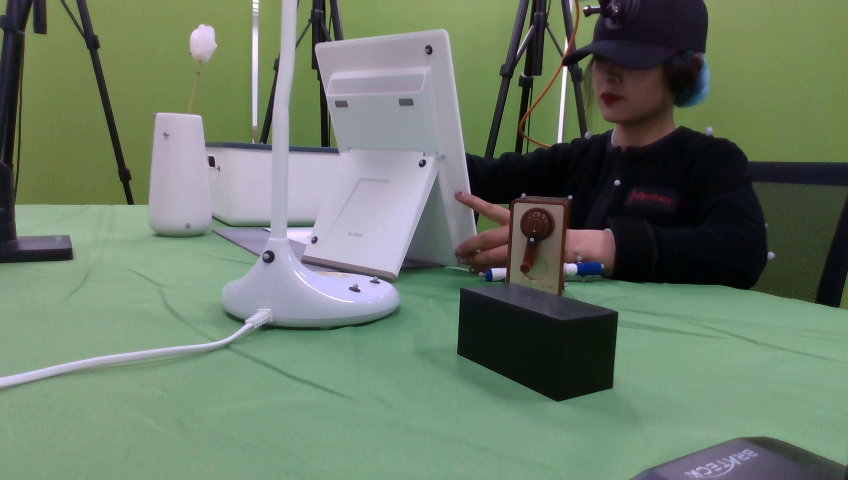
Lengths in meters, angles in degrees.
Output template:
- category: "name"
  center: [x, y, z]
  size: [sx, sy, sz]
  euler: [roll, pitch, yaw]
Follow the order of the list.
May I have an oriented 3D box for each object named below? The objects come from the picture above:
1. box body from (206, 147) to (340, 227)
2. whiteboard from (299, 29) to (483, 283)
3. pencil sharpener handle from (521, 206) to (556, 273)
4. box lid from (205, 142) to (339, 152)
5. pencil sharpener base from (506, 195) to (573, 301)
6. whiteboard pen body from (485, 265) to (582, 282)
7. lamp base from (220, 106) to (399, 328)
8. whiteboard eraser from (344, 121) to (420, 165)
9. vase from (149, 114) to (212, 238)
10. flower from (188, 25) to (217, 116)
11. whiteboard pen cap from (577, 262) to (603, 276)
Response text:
- category: "box body"
  center: [-0.276, -0.122, 1.320]
  size: [0.366, 0.160, 0.253]
  euler: [-2, 9, -30]
- category: "whiteboard"
  center: [-0.074, -0.082, 0.742]
  size: [0.216, 0.305, 0.144]
  euler: [9, 29, 38]
- category: "pencil sharpener handle"
  center: [0.111, 0.000, 0.613]
  size: [0.036, 0.067, 0.031]
  euler: [13, 10, 14]
- category: "box lid"
  center: [-0.270, -0.196, 1.310]
  size: [0.373, 0.015, 0.262]
  euler: [-2, 9, -30]
- category: "pencil sharpener base"
  center: [0.127, 0.007, 0.663]
  size: [0.061, 0.107, 0.077]
  euler: [5, 8, 15]
- category: "whiteboard pen body"
  center: [0.144, 0.040, 0.737]
  size: [0.141, 0.017, 0.017]
  euler: [-2, 8, -9]
- category: "lamp base"
  center: [-0.102, -0.023, 0.531]
  size: [0.160, 0.180, 0.179]
  euler: [4, 10, 10]
- category: "whiteboard eraser"
  center: [-0.061, -0.132, 0.823]
  size: [0.112, 0.055, 0.042]
  euler: [9, 33, 35]
- category: "vase"
  center: [-0.405, -0.106, 1.005]
  size: [0.098, 0.200, 0.098]
  euler: [2, 6, 0]
- category: "flower"
  center: [-0.394, -0.189, 1.011]
  size: [0.044, 0.361, 0.038]
  euler: [-1, -13, 27]
- category: "whiteboard pen cap"
  center: [0.203, 0.036, 0.748]
  size: [0.033, 0.018, 0.018]
  euler: [-2, 8, -8]
